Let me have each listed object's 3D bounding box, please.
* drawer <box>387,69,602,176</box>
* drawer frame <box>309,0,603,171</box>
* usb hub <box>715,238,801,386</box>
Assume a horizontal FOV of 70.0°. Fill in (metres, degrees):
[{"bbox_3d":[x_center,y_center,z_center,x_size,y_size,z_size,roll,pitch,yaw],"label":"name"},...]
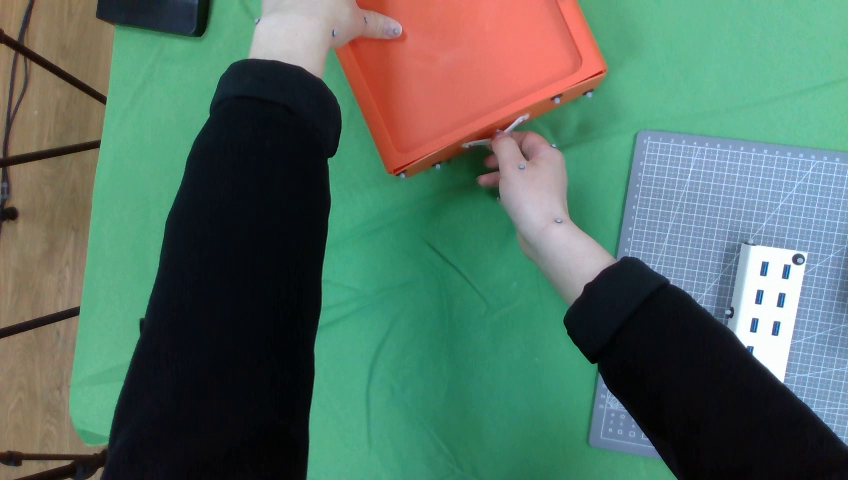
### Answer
[{"bbox_3d":[0.021,-0.190,0.534,0.194,0.073,0.211,-25,89,10],"label":"drawer"},{"bbox_3d":[0.016,-0.194,0.529,0.201,0.083,0.213,-25,90,9],"label":"drawer frame"},{"bbox_3d":[0.295,0.064,0.537,0.049,0.025,0.125,7,96,7],"label":"usb hub"}]
